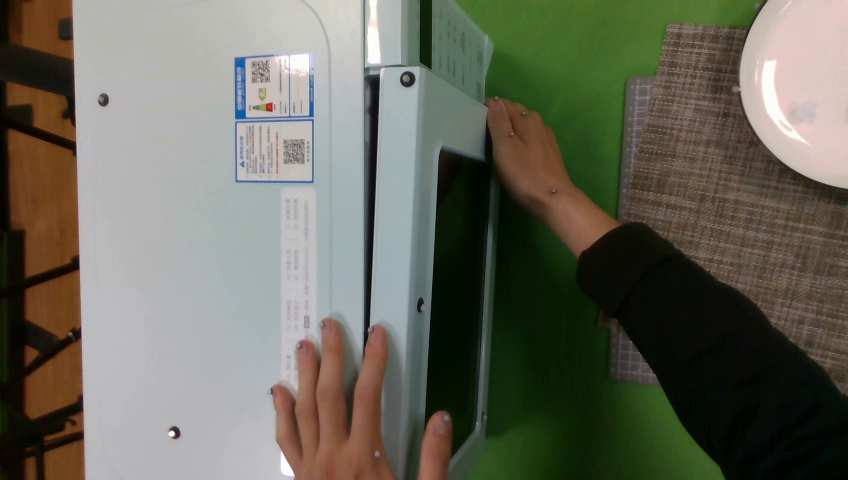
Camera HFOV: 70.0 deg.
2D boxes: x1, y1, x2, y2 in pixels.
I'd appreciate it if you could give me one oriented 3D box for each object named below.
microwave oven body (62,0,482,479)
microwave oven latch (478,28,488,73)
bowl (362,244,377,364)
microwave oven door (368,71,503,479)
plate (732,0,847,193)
[{"bbox_3d":[-0.126,0.009,0.583,0.325,0.261,0.442,2,95,20],"label":"microwave oven body"},{"bbox_3d":[0.044,-0.172,0.612,0.030,0.029,0.079,16,99,18],"label":"microwave oven latch"},{"bbox_3d":[-0.092,0.060,0.607,0.151,0.077,0.151,1,93,20],"label":"bowl"},{"bbox_3d":[0.016,0.055,0.529,0.039,0.244,0.356,4,95,21],"label":"microwave oven door"},{"bbox_3d":[0.372,-0.142,0.508,0.208,0.038,0.209,1,92,20],"label":"plate"}]
